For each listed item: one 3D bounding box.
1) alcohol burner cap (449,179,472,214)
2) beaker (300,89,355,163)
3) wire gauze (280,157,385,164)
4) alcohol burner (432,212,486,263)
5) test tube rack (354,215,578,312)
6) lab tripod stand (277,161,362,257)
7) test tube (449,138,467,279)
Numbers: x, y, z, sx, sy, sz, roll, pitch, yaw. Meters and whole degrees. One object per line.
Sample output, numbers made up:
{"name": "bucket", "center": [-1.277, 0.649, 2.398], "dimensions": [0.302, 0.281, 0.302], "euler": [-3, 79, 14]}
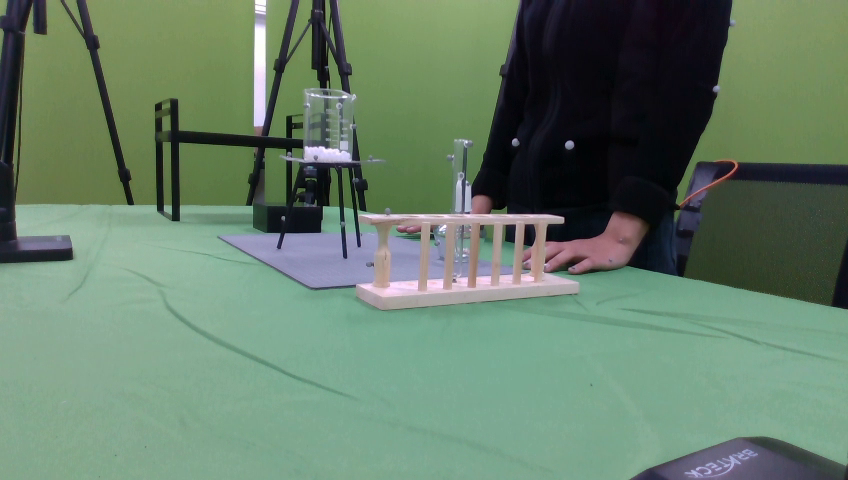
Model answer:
{"name": "alcohol burner cap", "center": [0.052, -0.063, 0.858], "dimensions": [0.034, 0.048, 0.034], "euler": [2, 14, 0]}
{"name": "beaker", "center": [-0.136, -0.161, 0.867], "dimensions": [0.083, 0.100, 0.074], "euler": [5, 8, 24]}
{"name": "wire gauze", "center": [-0.134, -0.113, 0.875], "dimensions": [0.122, 0.011, 0.124], "euler": [-1, 6, -30]}
{"name": "alcohol burner", "center": [0.051, -0.027, 0.863], "dimensions": [0.078, 0.119, 0.078], "euler": [1, 6, 0]}
{"name": "test tube rack", "center": [0.053, 0.019, 0.641], "dimensions": [0.243, 0.085, 0.066], "euler": [-1, 8, -29]}
{"name": "lab tripod stand", "center": [-0.142, -0.049, 0.884], "dimensions": [0.148, 0.131, 0.148], "euler": [1, 9, 0]}
{"name": "test tube", "center": [0.035, -0.033, 0.645], "dimensions": [0.017, 0.150, 0.017], "euler": [3, 4, 0]}
